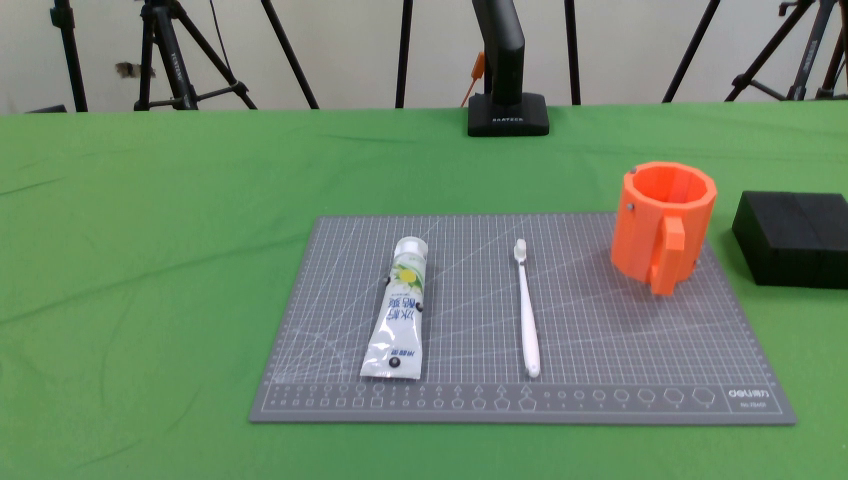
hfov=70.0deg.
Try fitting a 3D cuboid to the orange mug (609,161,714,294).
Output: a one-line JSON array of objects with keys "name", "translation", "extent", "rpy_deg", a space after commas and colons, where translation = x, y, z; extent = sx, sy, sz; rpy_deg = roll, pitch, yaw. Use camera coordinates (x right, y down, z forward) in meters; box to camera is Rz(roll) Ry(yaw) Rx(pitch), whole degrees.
[{"name": "orange mug", "translation": [0.236, -0.009, 0.607], "extent": [0.083, 0.101, 0.125], "rpy_deg": [4, 34, 11]}]

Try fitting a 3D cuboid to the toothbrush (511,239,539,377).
[{"name": "toothbrush", "translation": [0.099, 0.060, 0.597], "extent": [0.014, 0.017, 0.180], "rpy_deg": [10, 39, -5]}]

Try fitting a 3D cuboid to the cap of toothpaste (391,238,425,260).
[{"name": "cap of toothpaste", "translation": [-0.017, 0.013, 0.650], "extent": [0.037, 0.038, 0.011], "rpy_deg": [2, 42, 6]}]

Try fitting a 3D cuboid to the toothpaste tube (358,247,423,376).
[{"name": "toothpaste tube", "translation": [-0.026, 0.065, 0.592], "extent": [0.055, 0.035, 0.163], "rpy_deg": [-2, 40, 7]}]
